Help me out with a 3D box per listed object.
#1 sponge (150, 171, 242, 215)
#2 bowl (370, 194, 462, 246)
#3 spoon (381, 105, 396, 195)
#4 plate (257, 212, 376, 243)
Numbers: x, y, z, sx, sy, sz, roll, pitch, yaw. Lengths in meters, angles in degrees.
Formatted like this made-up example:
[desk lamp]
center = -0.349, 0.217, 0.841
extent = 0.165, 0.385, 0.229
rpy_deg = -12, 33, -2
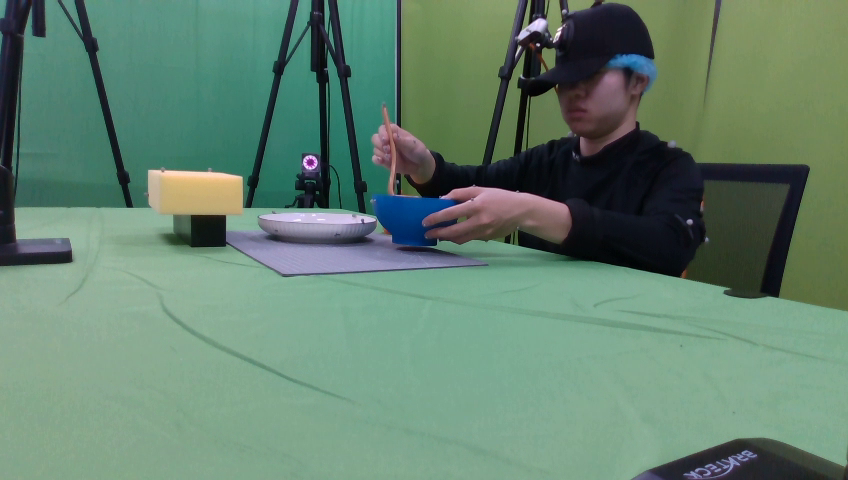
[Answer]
[sponge]
center = -0.379, -0.079, 0.994
extent = 0.119, 0.061, 0.206
rpy_deg = -1, 8, -29
[bowl]
center = -0.015, -0.031, 0.978
extent = 0.151, 0.077, 0.151
rpy_deg = 4, 3, 0
[spoon]
center = -0.054, -0.136, 1.008
extent = 0.021, 0.193, 0.041
rpy_deg = -6, -12, 4
[plate]
center = -0.189, -0.023, 1.072
extent = 0.209, 0.038, 0.209
rpy_deg = 3, 7, 0
